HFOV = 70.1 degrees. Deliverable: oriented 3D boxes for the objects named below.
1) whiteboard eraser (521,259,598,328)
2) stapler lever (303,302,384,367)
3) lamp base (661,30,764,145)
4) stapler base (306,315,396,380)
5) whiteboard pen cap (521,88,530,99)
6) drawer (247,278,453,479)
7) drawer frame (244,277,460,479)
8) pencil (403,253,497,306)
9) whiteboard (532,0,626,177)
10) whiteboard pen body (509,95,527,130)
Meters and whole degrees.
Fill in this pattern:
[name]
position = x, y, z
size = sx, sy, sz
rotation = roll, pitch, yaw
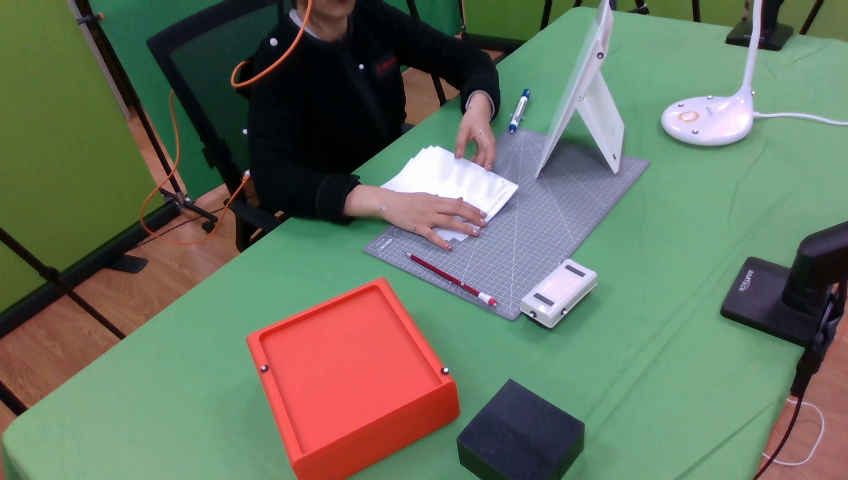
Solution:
[whiteboard eraser]
position = 0.189, 0.076, 0.843
size = 0.055, 0.042, 0.113
rotation = 29, 53, 37
[stapler lever]
position = -0.108, 0.123, 0.805
size = 0.118, 0.040, 0.026
rotation = -27, 36, -15
[lamp base]
position = 0.535, -0.287, 1.096
size = 0.179, 0.181, 0.159
rotation = -10, 40, -4
[stapler base]
position = -0.101, 0.138, 0.819
size = 0.131, 0.024, 0.041
rotation = -31, 37, -13
[whiteboard pen cap]
position = 0.218, -0.312, 1.301
size = 0.018, 0.018, 0.033
rotation = 7, 47, 18
[drawer]
position = -0.096, 0.167, 0.758
size = 0.195, 0.073, 0.210
rotation = -22, 43, -16
[drawer frame]
position = -0.093, 0.167, 0.755
size = 0.202, 0.083, 0.211
rotation = -23, 43, -17
[pencil]
position = 0.034, 0.056, 0.914
size = 0.192, 0.012, 0.012
rotation = 27, 52, 38
[whiteboard]
position = 0.321, -0.258, 1.050
size = 0.144, 0.306, 0.217
rotation = 21, 45, 5
[whiteboard pen body]
position = 0.199, -0.273, 1.262
size = 0.017, 0.017, 0.140
rotation = 7, 44, 19
